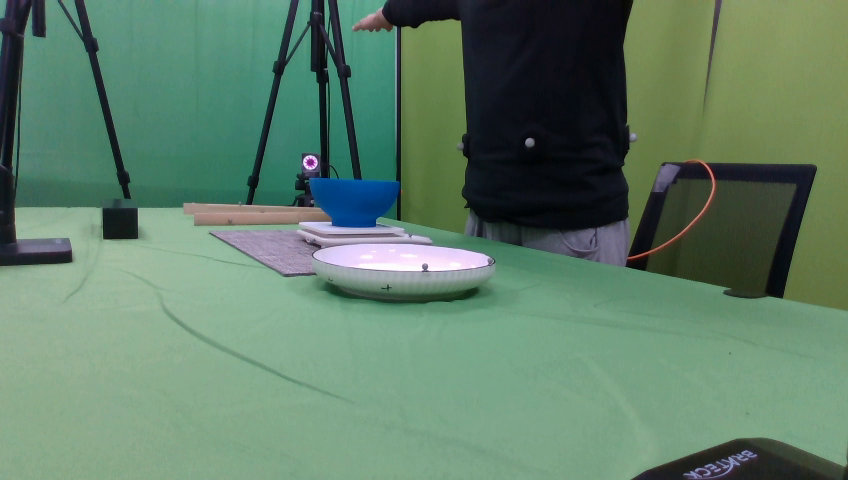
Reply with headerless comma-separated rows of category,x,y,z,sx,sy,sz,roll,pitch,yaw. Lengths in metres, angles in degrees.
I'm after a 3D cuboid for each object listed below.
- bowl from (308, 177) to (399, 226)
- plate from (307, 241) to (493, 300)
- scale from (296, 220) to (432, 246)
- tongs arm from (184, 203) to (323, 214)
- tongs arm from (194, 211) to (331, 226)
bowl,-0.116,-0.064,1.001,0.151,0.077,0.151,2,6,0
plate,-0.027,0.034,0.684,0.208,0.039,0.207,2,7,0
scale,-0.101,-0.012,1.017,0.202,0.031,0.148,-1,8,-30
tongs arm,-0.337,-0.065,1.376,0.387,0.026,0.050,0,9,-25
tongs arm,-0.298,-0.049,1.307,0.390,0.028,0.028,-3,8,-37
